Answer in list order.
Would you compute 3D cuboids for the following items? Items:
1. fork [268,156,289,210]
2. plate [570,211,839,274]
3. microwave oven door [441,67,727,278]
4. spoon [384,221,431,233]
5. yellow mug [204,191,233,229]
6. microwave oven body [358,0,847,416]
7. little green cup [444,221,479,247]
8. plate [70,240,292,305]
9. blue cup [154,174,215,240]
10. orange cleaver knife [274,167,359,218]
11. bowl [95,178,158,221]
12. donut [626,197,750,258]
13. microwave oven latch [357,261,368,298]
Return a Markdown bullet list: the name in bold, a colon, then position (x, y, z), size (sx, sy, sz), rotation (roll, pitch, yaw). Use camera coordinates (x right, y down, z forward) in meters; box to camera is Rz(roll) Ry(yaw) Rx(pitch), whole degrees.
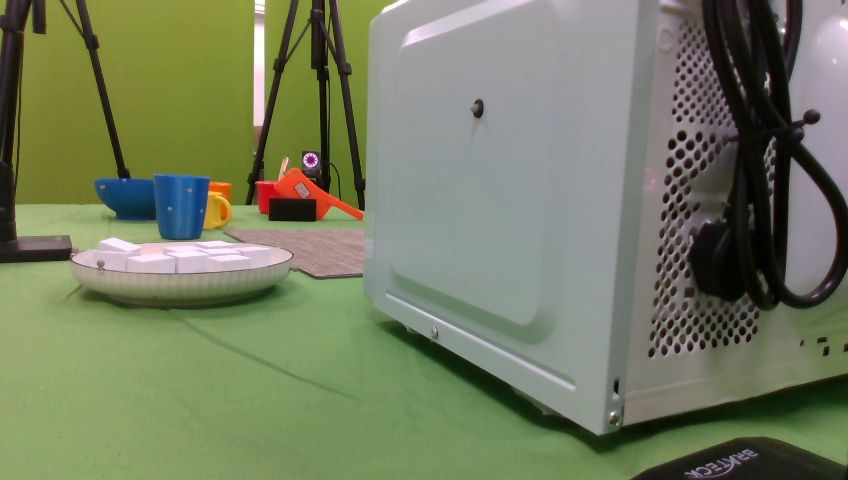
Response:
- **fork**: position (-0.360, -0.144, 1.508), size (0.028, 0.018, 0.207), rotation (1, 49, 0)
- **plate**: position (0.230, -0.001, 0.518), size (0.209, 0.038, 0.209), rotation (2, 6, 0)
- **microwave oven door**: position (0.188, -0.094, 0.789), size (0.354, 0.243, 0.039), rotation (7, 9, 31)
- **spoon**: position (-0.024, -0.029, 1.188), size (0.041, 0.021, 0.194), rotation (-12, 0, 23)
- **yellow mug**: position (-0.415, -0.057, 1.132), size (0.130, 0.064, 0.100), rotation (6, 8, 16)
- **microwave oven body**: position (0.211, -0.047, 0.474), size (0.444, 0.260, 0.324), rotation (-1, 7, -28)
- **little green cup**: position (0.064, -0.011, 1.034), size (0.061, 0.038, 0.061), rotation (0, 9, 0)
- **plate**: position (-0.242, 0.031, 0.618), size (0.208, 0.039, 0.207), rotation (2, 8, 0)
- **blue cup**: position (-0.390, -0.053, 0.978), size (0.093, 0.100, 0.092), rotation (4, 6, 0)
- **orange cleaver knife**: position (-0.238, -0.091, 1.381), size (0.212, 0.077, 0.012), rotation (31, 0, -19)
- **bowl**: position (-0.576, -0.081, 1.217), size (0.151, 0.077, 0.151), rotation (3, 8, 0)
- **donut**: position (0.224, -0.010, 0.518), size (0.099, 0.048, 0.099), rotation (5, 8, 0)
- **microwave oven latch**: position (-0.019, 0.033, 0.530), size (0.079, 0.029, 0.030), rotation (-1, 7, -26)
